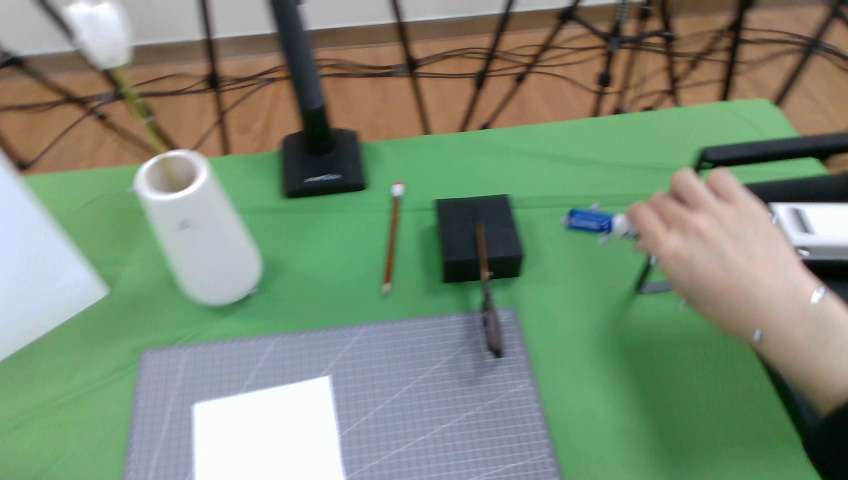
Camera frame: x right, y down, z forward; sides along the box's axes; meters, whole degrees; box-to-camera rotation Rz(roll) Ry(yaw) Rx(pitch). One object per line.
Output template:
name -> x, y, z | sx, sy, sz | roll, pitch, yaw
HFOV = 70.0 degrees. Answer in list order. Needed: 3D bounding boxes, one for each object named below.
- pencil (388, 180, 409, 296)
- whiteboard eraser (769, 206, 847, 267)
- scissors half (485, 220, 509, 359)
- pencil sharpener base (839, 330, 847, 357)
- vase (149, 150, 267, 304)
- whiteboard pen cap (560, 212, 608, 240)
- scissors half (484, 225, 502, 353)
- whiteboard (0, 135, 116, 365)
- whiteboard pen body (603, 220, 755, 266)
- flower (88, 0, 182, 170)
pencil -> -0.035, -0.007, 0.816 | 0.012, 0.012, 0.192 | 4, 54, 3
whiteboard eraser -> 0.392, -0.003, 0.572 | 0.113, 0.042, 0.055 | 2, 55, 0
scissors half -> 0.085, 0.056, 0.727 | 0.013, 0.040, 0.174 | -13, 71, 20
pencil sharpener base -> 0.400, 0.073, 0.475 | 0.077, 0.108, 0.060 | -10, 53, -8
vase -> -0.247, -0.010, 0.698 | 0.098, 0.202, 0.097 | 0, 52, 1
whiteboard pen cap -> 0.119, -0.010, 0.446 | 0.033, 0.018, 0.018 | 11, 53, -3
scissors half -> 0.077, 0.048, 0.710 | 0.013, 0.040, 0.173 | -10, 54, 16
whiteboard -> -0.542, -0.017, 0.672 | 0.217, 0.308, 0.142 | -36, 42, -23
whiteboard pen body -> 0.177, 0.000, 0.450 | 0.141, 0.017, 0.017 | 10, 53, -4
flower -> -0.256, -0.070, 0.639 | 0.044, 0.365, 0.038 | -12, 37, -5
